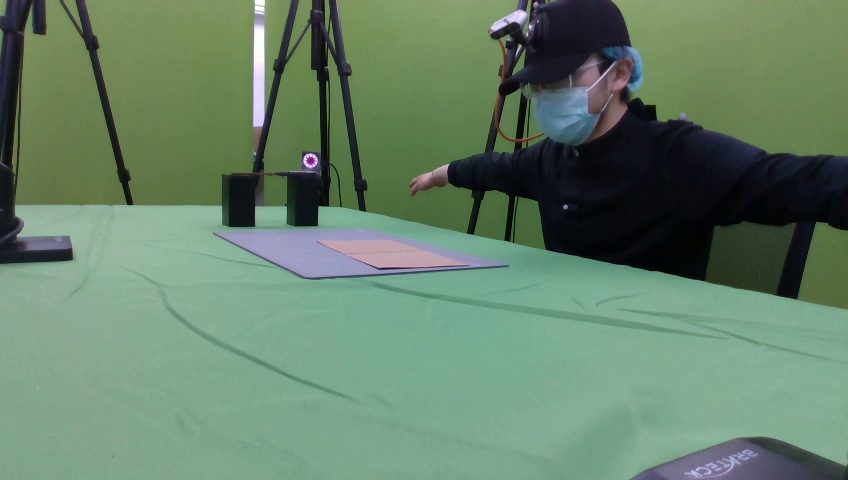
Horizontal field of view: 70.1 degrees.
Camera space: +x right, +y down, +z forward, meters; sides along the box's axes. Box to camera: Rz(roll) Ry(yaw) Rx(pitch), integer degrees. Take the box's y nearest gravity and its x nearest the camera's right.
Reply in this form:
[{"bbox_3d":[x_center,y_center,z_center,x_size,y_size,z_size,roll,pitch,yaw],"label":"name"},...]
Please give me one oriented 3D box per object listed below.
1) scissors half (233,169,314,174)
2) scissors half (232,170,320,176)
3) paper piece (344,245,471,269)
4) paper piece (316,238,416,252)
[{"bbox_3d":[-0.304,-0.138,1.228,0.176,0.013,0.040,-7,18,-41],"label":"scissors half"},{"bbox_3d":[-0.293,-0.133,1.212,0.176,0.013,0.040,-2,10,-24],"label":"scissors half"},{"bbox_3d":[-0.027,0.024,0.847,0.137,0.008,0.137,-5,11,-26],"label":"paper piece"},{"bbox_3d":[-0.088,0.006,0.964,0.136,0.004,0.135,-2,8,-27],"label":"paper piece"}]
